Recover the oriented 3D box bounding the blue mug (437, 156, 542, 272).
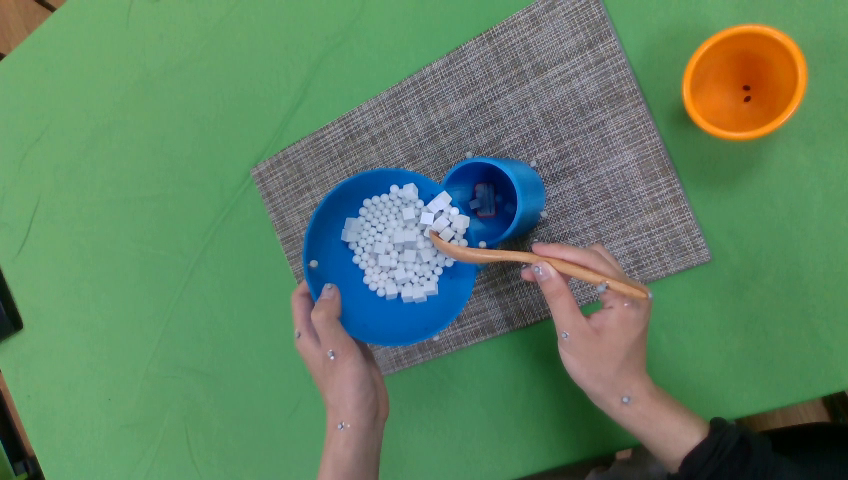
[{"bbox_3d":[0.062,-0.024,0.598,0.082,0.106,0.117,17,103,19],"label":"blue mug"}]

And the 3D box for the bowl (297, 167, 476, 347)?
[{"bbox_3d":[-0.037,0.018,0.533,0.152,0.077,0.151,2,81,-15],"label":"bowl"}]

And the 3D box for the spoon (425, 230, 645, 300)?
[{"bbox_3d":[0.076,0.017,0.470,0.192,0.042,0.021,11,76,38],"label":"spoon"}]
